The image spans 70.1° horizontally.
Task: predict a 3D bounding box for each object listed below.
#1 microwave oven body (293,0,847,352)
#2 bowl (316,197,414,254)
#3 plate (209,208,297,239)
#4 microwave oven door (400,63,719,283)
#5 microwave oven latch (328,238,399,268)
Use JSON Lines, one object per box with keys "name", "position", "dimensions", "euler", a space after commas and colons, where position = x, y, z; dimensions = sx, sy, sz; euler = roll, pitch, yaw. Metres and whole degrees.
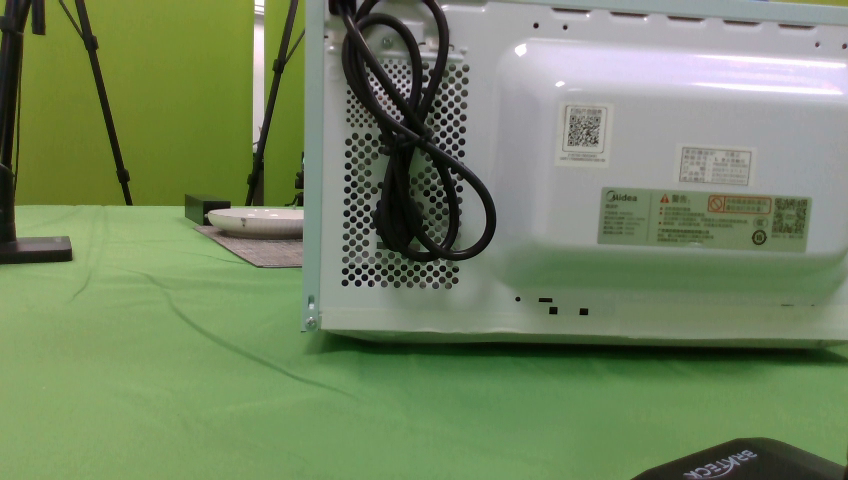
{"name": "microwave oven body", "position": [0.122, -0.055, 0.550], "dimensions": [0.442, 0.260, 0.325], "euler": [3, 7, -5]}
{"name": "bowl", "position": [-0.092, -0.023, 0.931], "dimensions": [0.151, 0.077, 0.151], "euler": [3, 8, 0]}
{"name": "plate", "position": [-0.271, -0.029, 1.074], "dimensions": [0.208, 0.039, 0.207], "euler": [3, 7, 0]}
{"name": "microwave oven door", "position": [0.155, -0.080, 0.719], "dimensions": [0.356, 0.243, 0.039], "euler": [3, 8, 2]}
{"name": "microwave oven latch", "position": [-0.069, 0.015, 0.694], "dimensions": [0.079, 0.029, 0.030], "euler": [3, 7, -3]}
